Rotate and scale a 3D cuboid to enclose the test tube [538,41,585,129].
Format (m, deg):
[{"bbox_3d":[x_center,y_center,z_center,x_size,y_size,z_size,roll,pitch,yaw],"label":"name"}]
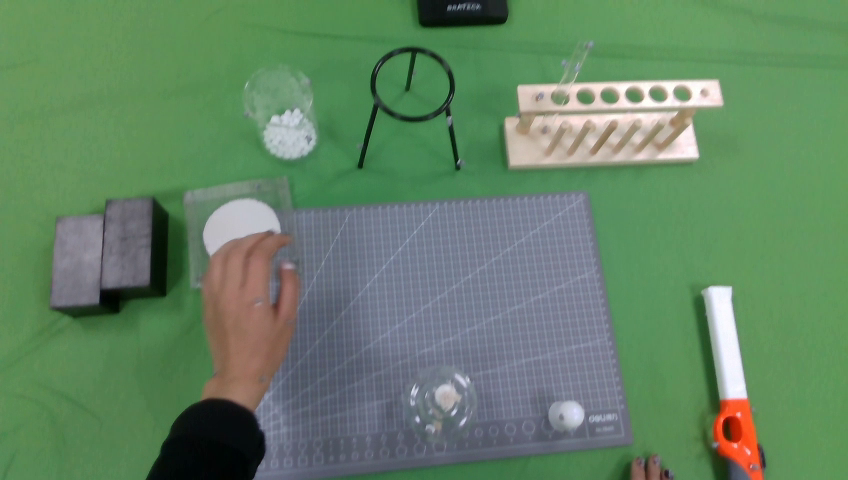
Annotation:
[{"bbox_3d":[0.154,-0.171,0.692,0.017,0.151,0.017,2,68,-4],"label":"test tube"}]

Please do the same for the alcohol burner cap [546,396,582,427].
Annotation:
[{"bbox_3d":[0.153,0.185,0.654,0.034,0.048,0.033,1,71,-3],"label":"alcohol burner cap"}]

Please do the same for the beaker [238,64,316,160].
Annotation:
[{"bbox_3d":[-0.163,-0.141,0.702,0.074,0.100,0.083,-34,79,-13],"label":"beaker"}]

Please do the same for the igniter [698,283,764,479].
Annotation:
[{"bbox_3d":[0.344,0.184,0.680,0.057,0.025,0.275,3,73,-12],"label":"igniter"}]

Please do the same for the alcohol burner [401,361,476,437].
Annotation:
[{"bbox_3d":[0.016,0.159,0.613,0.078,0.119,0.077,2,71,-5],"label":"alcohol burner"}]

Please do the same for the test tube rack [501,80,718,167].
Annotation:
[{"bbox_3d":[0.223,-0.141,0.740,0.243,0.085,0.066,-3,73,-5],"label":"test tube rack"}]

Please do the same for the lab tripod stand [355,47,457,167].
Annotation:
[{"bbox_3d":[-0.020,-0.149,0.698,0.148,0.132,0.147,1,71,-2],"label":"lab tripod stand"}]

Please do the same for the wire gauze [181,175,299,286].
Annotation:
[{"bbox_3d":[-0.215,-0.013,0.702,0.125,0.011,0.120,-9,73,-7],"label":"wire gauze"}]
